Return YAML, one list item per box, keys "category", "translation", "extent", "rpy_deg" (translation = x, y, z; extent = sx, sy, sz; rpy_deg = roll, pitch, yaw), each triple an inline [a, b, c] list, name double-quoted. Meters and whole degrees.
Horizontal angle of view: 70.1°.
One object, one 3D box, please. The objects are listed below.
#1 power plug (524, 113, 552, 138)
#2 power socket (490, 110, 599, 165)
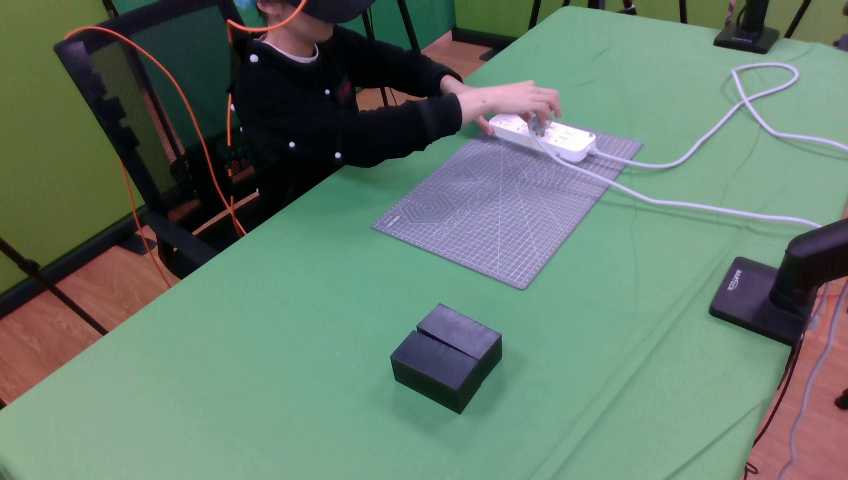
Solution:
- category: "power plug"
  translation: [0.207, -0.207, 1.128]
  extent: [0.073, 0.053, 0.035]
  rpy_deg: [-33, 34, -22]
- category: "power socket"
  translation: [0.226, -0.201, 1.166]
  extent: [0.225, 0.033, 0.072]
  rpy_deg: [26, 52, 33]
